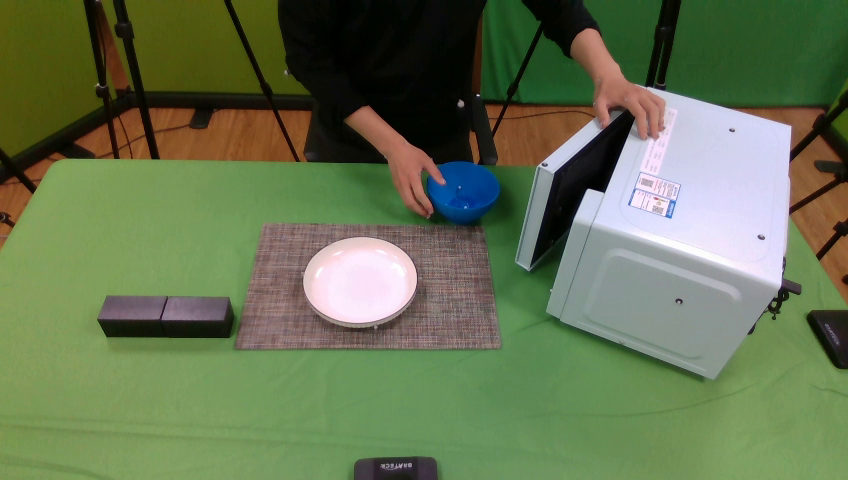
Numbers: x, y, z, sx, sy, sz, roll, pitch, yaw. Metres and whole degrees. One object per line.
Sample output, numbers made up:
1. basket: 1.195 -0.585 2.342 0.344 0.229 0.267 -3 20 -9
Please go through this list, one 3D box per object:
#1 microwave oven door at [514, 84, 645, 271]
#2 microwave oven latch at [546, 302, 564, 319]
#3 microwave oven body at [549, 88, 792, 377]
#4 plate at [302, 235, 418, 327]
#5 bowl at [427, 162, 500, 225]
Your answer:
1. microwave oven door: 0.304 -0.126 1.164 0.039 0.245 0.355 33 52 25
2. microwave oven latch: 0.242 0.102 1.081 0.030 0.029 0.079 22 48 17
3. microwave oven body: 0.456 -0.028 1.088 0.325 0.261 0.440 20 47 16
4. plate: -0.114 0.077 1.098 0.208 0.039 0.206 2 46 -2
5. bowl: 0.075 -0.084 1.249 0.151 0.077 0.150 5 45 -4
